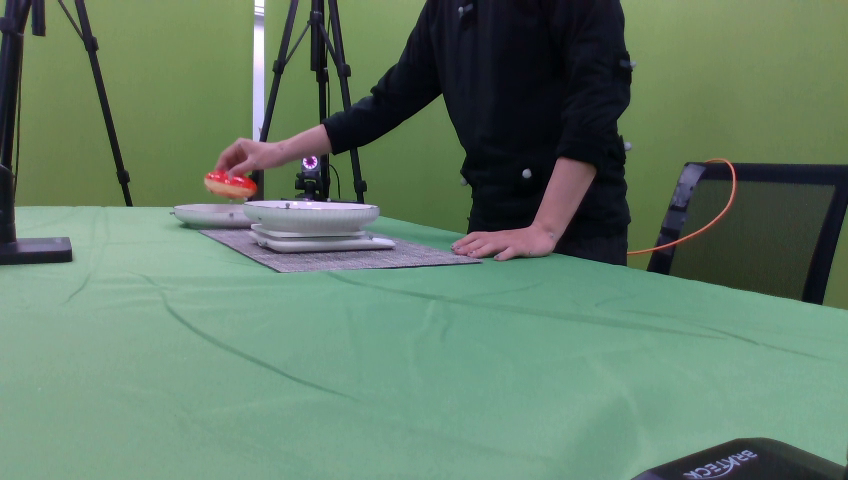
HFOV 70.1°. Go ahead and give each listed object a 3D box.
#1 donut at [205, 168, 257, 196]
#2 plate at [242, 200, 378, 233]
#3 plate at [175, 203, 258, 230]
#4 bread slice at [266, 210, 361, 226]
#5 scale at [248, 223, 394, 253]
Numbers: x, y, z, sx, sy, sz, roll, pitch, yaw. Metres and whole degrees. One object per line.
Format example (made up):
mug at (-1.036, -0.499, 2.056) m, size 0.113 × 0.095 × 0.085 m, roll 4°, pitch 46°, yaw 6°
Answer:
donut at (-0.381, -0.113, 1.195) m, size 0.099 × 0.048 × 0.099 m, roll 13°, pitch 10°, yaw -2°
plate at (-0.176, -0.038, 0.939) m, size 0.209 × 0.038 × 0.209 m, roll 3°, pitch 7°, yaw 0°
plate at (-0.381, -0.047, 1.199) m, size 0.208 × 0.039 × 0.207 m, roll 3°, pitch 7°, yaw 0°
bread slice at (-0.174, -0.035, 0.934) m, size 0.132 × 0.019 × 0.104 m, roll -1°, pitch 6°, yaw -28°
scale at (-0.162, -0.006, 0.954) m, size 0.202 × 0.031 × 0.148 m, roll -2°, pitch 8°, yaw -32°
